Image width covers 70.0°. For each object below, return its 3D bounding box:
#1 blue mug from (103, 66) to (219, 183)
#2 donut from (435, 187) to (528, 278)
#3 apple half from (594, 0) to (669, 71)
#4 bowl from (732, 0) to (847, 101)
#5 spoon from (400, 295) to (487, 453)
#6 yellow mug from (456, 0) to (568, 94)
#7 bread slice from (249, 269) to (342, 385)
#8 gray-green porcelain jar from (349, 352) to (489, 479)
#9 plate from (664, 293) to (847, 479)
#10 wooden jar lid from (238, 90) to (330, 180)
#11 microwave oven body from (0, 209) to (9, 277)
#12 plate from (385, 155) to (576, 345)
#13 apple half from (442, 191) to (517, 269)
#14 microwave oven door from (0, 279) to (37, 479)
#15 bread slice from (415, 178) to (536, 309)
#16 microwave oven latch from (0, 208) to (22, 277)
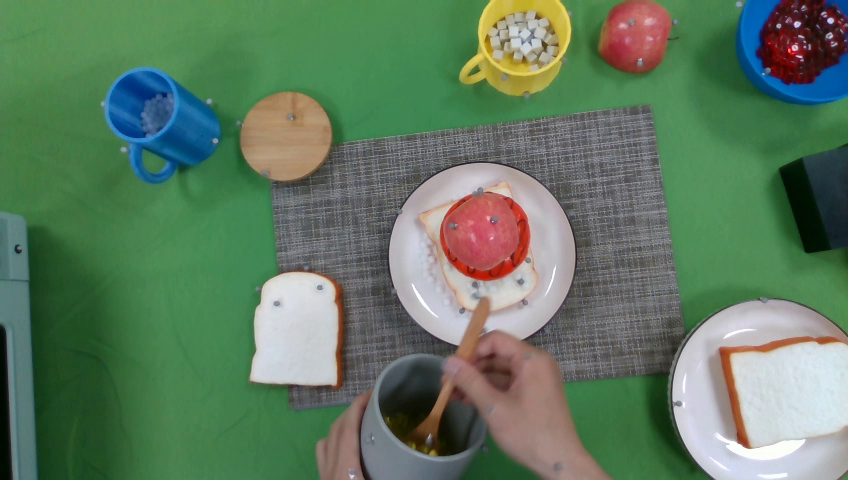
[{"bbox_3d":[-0.296,-0.121,0.681,0.082,0.106,0.116,14,86,6],"label":"blue mug"},{"bbox_3d":[0.062,-0.008,0.648,0.099,0.048,0.099,0,86,5],"label":"donut"},{"bbox_3d":[0.235,-0.238,0.680,0.074,0.053,0.080,16,87,8],"label":"apple half"},{"bbox_3d":[0.399,-0.214,0.653,0.151,0.077,0.151,0,86,5],"label":"bowl"},{"bbox_3d":[0.014,0.134,0.515,0.041,0.021,0.194,24,107,5],"label":"spoon"},{"bbox_3d":[0.093,-0.216,0.681,0.131,0.064,0.099,-31,84,2],"label":"yellow mug"},{"bbox_3d":[-0.147,0.099,0.693,0.105,0.019,0.131,1,87,3],"label":"bread slice"},{"bbox_3d":[-0.010,0.183,0.558,0.105,0.105,0.127,27,130,6],"label":"gray-green porcelain jar"},{"bbox_3d":[0.359,0.160,0.644,0.209,0.038,0.208,0,85,4],"label":"plate"},{"bbox_3d":[-0.163,-0.122,0.712,0.108,0.021,0.108,-1,82,5],"label":"wooden jar lid"},{"bbox_3d":[-0.620,0.186,0.597,0.326,0.261,0.440,-6,85,3],"label":"microwave oven body"},{"bbox_3d":[0.061,0.011,0.675,0.207,0.039,0.207,0,86,4],"label":"plate"},{"bbox_3d":[0.057,-0.011,0.612,0.081,0.033,0.081,-1,83,12],"label":"apple half"},{"bbox_3d":[-0.472,0.211,0.579,0.039,0.244,0.355,-7,84,4],"label":"microwave oven door"},{"bbox_3d":[0.066,0.009,0.675,0.107,0.018,0.134,-24,85,2],"label":"bread slice"},{"bbox_3d":[-0.485,0.003,0.699,0.030,0.029,0.079,-3,86,4],"label":"microwave oven latch"}]
